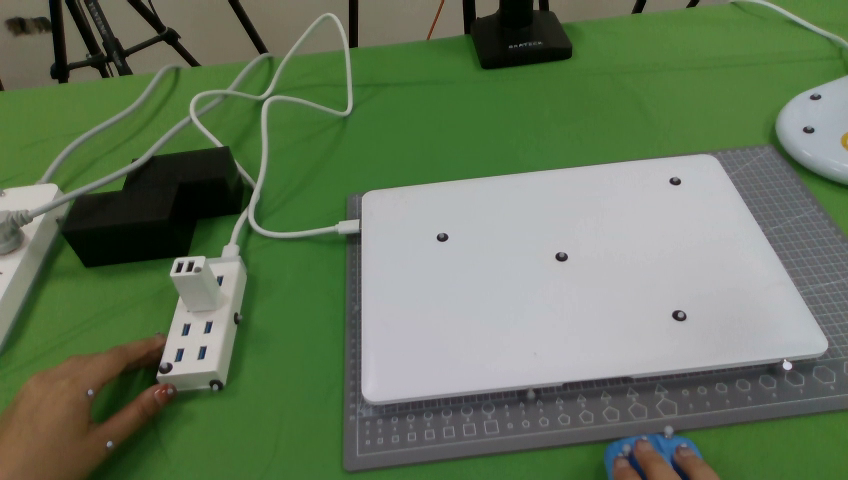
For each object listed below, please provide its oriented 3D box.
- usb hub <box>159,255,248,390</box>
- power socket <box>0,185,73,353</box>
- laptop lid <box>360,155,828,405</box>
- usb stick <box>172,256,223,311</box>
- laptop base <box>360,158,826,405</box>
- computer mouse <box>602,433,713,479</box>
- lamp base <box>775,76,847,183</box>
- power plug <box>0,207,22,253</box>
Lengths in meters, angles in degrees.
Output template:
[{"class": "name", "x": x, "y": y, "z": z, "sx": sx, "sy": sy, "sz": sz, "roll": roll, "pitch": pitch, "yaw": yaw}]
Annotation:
[{"class": "usb hub", "x": -0.186, "y": 0.067, "z": 0.520, "sx": 0.049, "sy": 0.025, "sz": 0.124, "roll": -6, "pitch": 45, "yaw": 2}, {"class": "power socket", "x": -0.406, "y": 0.025, "z": 0.579, "sx": 0.072, "sy": 0.033, "sz": 0.224, "roll": -5, "pitch": 45, "yaw": -1}, {"class": "laptop lid", "x": 0.120, "y": 0.018, "z": 0.522, "sx": 0.357, "sy": 0.013, "sz": 0.239, "roll": -5, "pitch": 48, "yaw": 1}, {"class": "usb stick", "x": -0.185, "y": 0.041, "z": 0.504, "sx": 0.027, "sy": 0.060, "sz": 0.021, "roll": -8, "pitch": 45, "yaw": 1}, {"class": "laptop base", "x": 0.121, "y": 0.025, "z": 0.533, "sx": 0.354, "sy": 0.023, "sz": 0.233, "roll": -6, "pitch": 49, "yaw": 0}, {"class": "computer mouse", "x": 0.152, "y": 0.171, "z": 0.374, "sx": 0.063, "sy": 0.041, "sz": 0.116, "roll": -5, "pitch": 42, "yaw": 5}, {"class": "lamp base", "x": 0.447, "y": -0.169, "z": 0.574, "sx": 0.160, "sy": 0.182, "sz": 0.178, "roll": 16, "pitch": 47, "yaw": 21}, {"class": "power plug", "x": -0.408, "y": -0.013, "z": 0.586, "sx": 0.035, "sy": 0.053, "sz": 0.072, "roll": -11, "pitch": 38, "yaw": -18}]
